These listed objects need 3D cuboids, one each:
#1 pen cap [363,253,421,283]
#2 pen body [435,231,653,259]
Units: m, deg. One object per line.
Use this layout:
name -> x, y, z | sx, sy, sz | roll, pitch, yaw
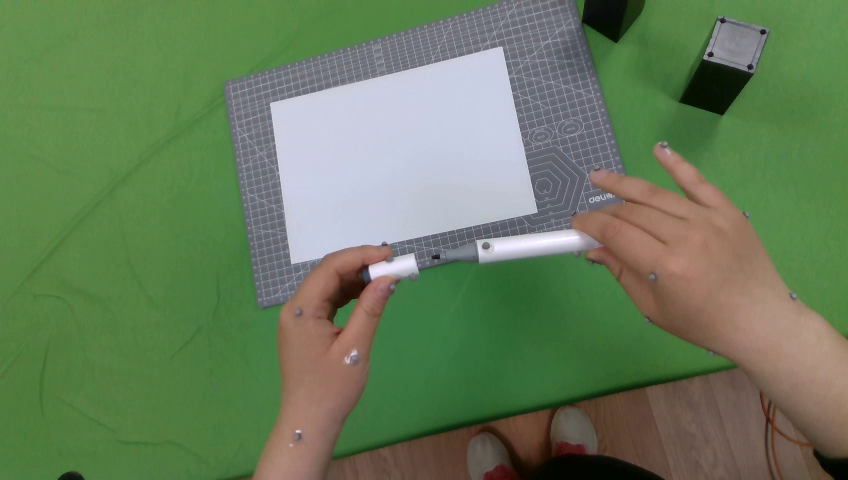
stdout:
pen cap -> -0.022, 0.020, 0.409 | 0.038, 0.017, 0.017 | -10, 78, 11
pen body -> 0.080, 0.004, 0.406 | 0.144, 0.017, 0.017 | -2, 79, -1
